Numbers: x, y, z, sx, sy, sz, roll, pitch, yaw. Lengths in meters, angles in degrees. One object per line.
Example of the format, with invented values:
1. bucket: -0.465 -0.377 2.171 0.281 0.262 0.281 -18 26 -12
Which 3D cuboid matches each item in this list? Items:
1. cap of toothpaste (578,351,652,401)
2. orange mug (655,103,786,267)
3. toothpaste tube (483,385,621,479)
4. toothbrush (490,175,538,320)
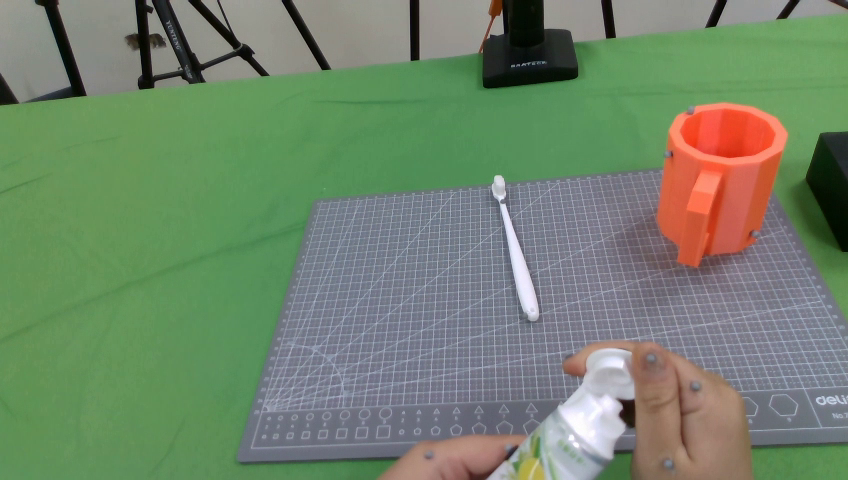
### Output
1. cap of toothpaste: 0.096 0.070 0.307 0.037 0.038 0.011 8 45 20
2. orange mug: 0.235 -0.041 0.499 0.083 0.102 0.126 17 46 28
3. toothpaste tube: 0.041 0.139 0.313 0.165 0.035 0.054 -51 34 7
4. toothbrush: 0.080 0.000 0.550 0.014 0.017 0.180 2 43 -8
